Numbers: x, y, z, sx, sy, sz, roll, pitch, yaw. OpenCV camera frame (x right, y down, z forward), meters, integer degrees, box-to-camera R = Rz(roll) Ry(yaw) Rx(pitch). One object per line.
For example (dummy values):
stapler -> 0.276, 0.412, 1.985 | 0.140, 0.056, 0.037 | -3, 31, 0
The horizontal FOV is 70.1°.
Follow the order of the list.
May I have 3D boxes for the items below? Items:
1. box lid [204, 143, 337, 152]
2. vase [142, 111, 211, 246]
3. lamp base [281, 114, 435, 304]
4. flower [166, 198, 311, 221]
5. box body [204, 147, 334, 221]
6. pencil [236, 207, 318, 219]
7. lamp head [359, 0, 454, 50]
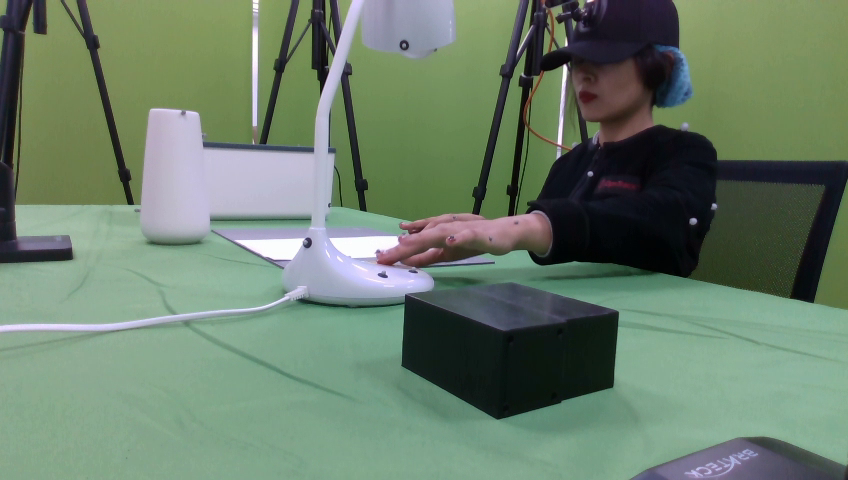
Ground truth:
box lid -> -0.407, -0.209, 1.370 | 0.373, 0.015, 0.262 | -3, 9, -30
vase -> -0.378, -0.093, 0.920 | 0.098, 0.200, 0.098 | 2, 9, 0
lamp base -> -0.071, -0.034, 0.614 | 0.160, 0.180, 0.180 | 6, 10, 27
flower -> -0.397, -0.058, 1.355 | 0.044, 0.038, 0.364 | -37, -25, 32
box body -> -0.413, -0.134, 1.379 | 0.366, 0.160, 0.253 | -2, 9, -31
pencil -> -0.347, -0.062, 1.437 | 0.194, 0.012, 0.012 | 7, 7, -6
lamp head -> -0.024, -0.282, 0.675 | 0.112, 0.123, 0.112 | -3, 38, 3
